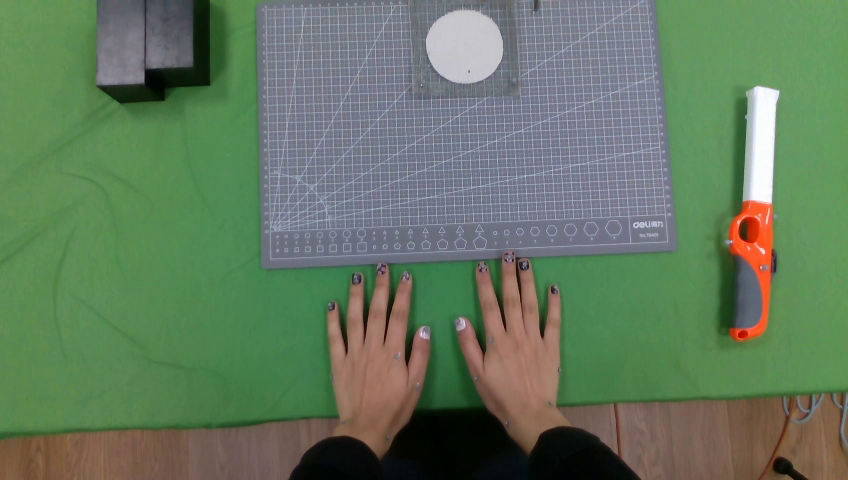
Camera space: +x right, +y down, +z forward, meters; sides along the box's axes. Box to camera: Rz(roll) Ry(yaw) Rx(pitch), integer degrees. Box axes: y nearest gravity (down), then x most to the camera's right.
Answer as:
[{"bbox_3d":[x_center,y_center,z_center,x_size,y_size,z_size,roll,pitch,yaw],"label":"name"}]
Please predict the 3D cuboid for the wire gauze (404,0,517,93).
[{"bbox_3d":[0.040,-0.223,0.678,0.125,0.011,0.121,-1,83,0],"label":"wire gauze"}]

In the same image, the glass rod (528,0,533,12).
[{"bbox_3d":[0.125,-0.358,0.695,0.008,0.008,0.199,2,85,-1],"label":"glass rod"}]

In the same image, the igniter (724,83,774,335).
[{"bbox_3d":[0.354,-0.034,0.656,0.057,0.025,0.276,8,84,-10],"label":"igniter"}]
